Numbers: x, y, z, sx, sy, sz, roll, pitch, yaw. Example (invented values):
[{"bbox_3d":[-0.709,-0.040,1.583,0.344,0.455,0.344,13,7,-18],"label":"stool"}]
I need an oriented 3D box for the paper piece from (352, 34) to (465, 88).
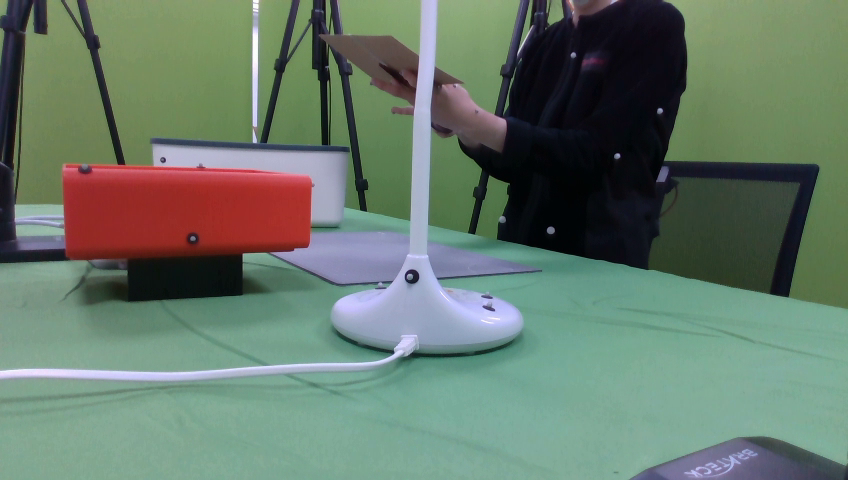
[{"bbox_3d":[-0.025,-0.256,0.867,0.139,0.008,0.135,27,3,-34],"label":"paper piece"}]

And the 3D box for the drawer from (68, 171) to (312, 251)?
[{"bbox_3d":[-0.247,-0.036,0.629,0.213,0.073,0.193,-2,9,-30],"label":"drawer"}]

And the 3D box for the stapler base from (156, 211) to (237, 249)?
[{"bbox_3d":[-0.227,-0.017,0.624,0.041,0.024,0.130,18,10,-2],"label":"stapler base"}]

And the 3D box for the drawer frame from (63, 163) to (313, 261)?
[{"bbox_3d":[-0.248,-0.036,0.626,0.215,0.082,0.200,-3,9,-31],"label":"drawer frame"}]

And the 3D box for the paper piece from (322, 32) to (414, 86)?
[{"bbox_3d":[-0.091,-0.290,0.975,0.136,0.004,0.134,32,-2,-32],"label":"paper piece"}]

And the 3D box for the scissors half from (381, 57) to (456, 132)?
[{"bbox_3d":[-0.009,-0.231,0.967,0.176,0.040,0.012,42,-12,-33],"label":"scissors half"}]

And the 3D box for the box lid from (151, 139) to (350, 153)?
[{"bbox_3d":[-0.352,-0.191,1.256,0.373,0.015,0.262,0,8,-18],"label":"box lid"}]

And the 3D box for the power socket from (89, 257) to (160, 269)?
[{"bbox_3d":[-0.409,0.004,0.793,0.072,0.032,0.225,-2,8,-38],"label":"power socket"}]

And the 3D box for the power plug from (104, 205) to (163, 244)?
[{"bbox_3d":[-0.390,-0.021,0.815,0.073,0.052,0.035,-1,7,-28],"label":"power plug"}]

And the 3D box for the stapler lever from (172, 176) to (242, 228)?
[{"bbox_3d":[-0.218,-0.041,0.618,0.027,0.040,0.118,18,11,-2],"label":"stapler lever"}]

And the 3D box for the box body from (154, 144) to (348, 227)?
[{"bbox_3d":[-0.357,-0.119,1.264,0.365,0.160,0.253,0,7,-18],"label":"box body"}]

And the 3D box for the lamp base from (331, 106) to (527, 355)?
[{"bbox_3d":[0.006,-0.012,0.478,0.161,0.180,0.179,2,10,2],"label":"lamp base"}]

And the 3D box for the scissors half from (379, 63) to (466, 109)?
[{"bbox_3d":[0.000,-0.251,0.969,0.176,0.040,0.013,12,0,-36],"label":"scissors half"}]
